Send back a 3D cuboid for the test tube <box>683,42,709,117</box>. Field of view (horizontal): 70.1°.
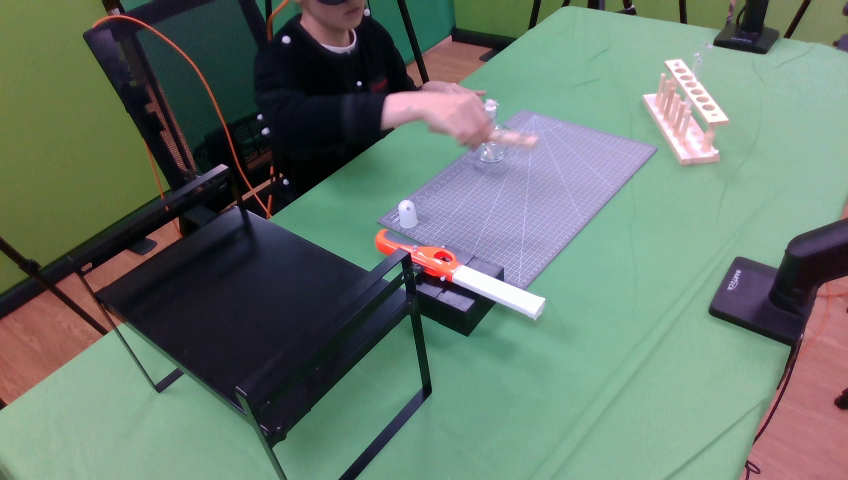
[{"bbox_3d":[0.499,-0.292,1.115,0.017,0.151,0.017,-3,44,3],"label":"test tube"}]

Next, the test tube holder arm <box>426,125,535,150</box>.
[{"bbox_3d":[0.089,-0.165,0.971,0.178,0.015,0.013,10,47,13],"label":"test tube holder arm"}]

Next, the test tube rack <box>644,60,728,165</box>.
[{"bbox_3d":[0.486,-0.247,1.139,0.067,0.085,0.241,-5,41,4],"label":"test tube rack"}]

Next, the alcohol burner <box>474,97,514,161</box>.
[{"bbox_3d":[0.128,-0.208,1.123,0.078,0.119,0.077,-5,39,5],"label":"alcohol burner"}]

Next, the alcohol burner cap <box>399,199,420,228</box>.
[{"bbox_3d":[-0.025,-0.047,1.014,0.034,0.048,0.033,-4,42,4],"label":"alcohol burner cap"}]

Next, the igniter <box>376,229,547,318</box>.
[{"bbox_3d":[0.040,0.041,0.845,0.274,0.025,0.057,22,46,27],"label":"igniter"}]

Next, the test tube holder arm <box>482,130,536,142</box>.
[{"bbox_3d":[0.134,-0.161,0.964,0.087,0.015,0.010,11,47,14],"label":"test tube holder arm"}]
